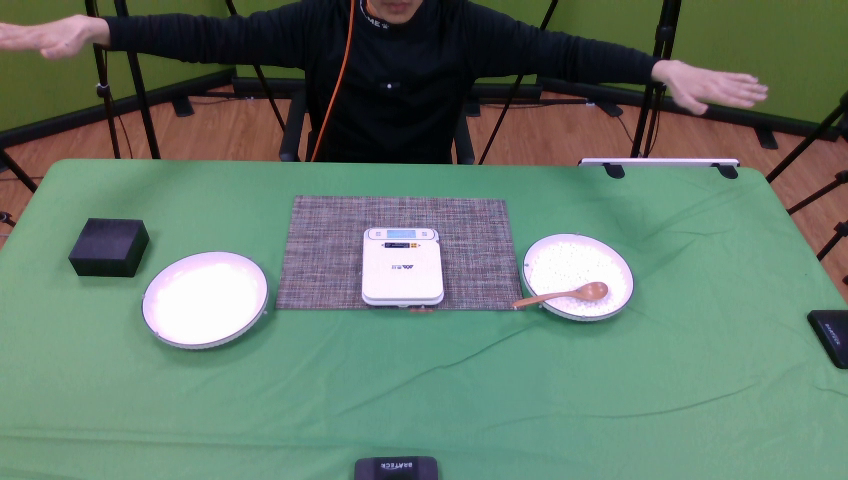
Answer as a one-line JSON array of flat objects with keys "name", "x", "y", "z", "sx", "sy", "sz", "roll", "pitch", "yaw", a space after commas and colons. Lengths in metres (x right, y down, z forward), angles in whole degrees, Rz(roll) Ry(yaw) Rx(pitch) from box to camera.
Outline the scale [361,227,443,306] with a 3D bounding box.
[{"name": "scale", "x": -0.042, "y": 0.040, "z": 1.143, "sx": 0.149, "sy": 0.032, "sz": 0.199, "roll": 0, "pitch": 46, "yaw": -4}]

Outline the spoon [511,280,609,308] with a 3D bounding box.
[{"name": "spoon", "x": 0.245, "y": 0.098, "z": 1.088, "sx": 0.194, "sy": 0.022, "sz": 0.041, "roll": -5, "pitch": 47, "yaw": -19}]

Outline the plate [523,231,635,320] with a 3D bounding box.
[{"name": "plate", "x": 0.287, "y": 0.069, "z": 1.141, "sx": 0.209, "sy": 0.038, "sz": 0.208, "roll": 2, "pitch": 46, "yaw": -2}]

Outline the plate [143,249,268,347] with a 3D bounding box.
[{"name": "plate", "x": -0.378, "y": 0.103, "z": 1.060, "sx": 0.208, "sy": 0.039, "sz": 0.206, "roll": 2, "pitch": 47, "yaw": -2}]
